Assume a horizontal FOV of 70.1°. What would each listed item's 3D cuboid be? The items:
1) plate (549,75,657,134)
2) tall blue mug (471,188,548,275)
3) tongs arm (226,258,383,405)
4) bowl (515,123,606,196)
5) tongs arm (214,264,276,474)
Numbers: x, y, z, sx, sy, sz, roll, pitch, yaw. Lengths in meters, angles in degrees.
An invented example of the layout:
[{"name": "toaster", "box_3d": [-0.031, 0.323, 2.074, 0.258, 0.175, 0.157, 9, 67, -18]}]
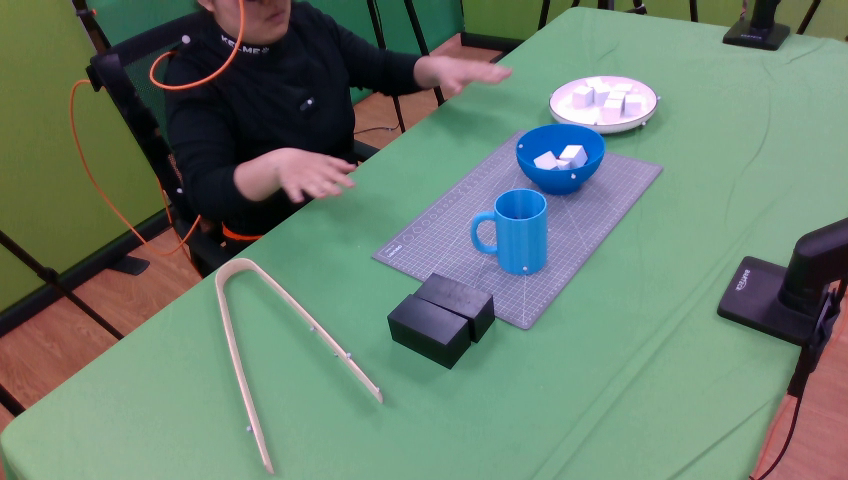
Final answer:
[{"name": "plate", "box_3d": [0.357, -0.269, 1.220, 0.209, 0.038, 0.208, -5, 41, 5]}, {"name": "tall blue mug", "box_3d": [0.131, -0.007, 0.893, 0.107, 0.108, 0.077, -20, 42, -11]}, {"name": "tongs arm", "box_3d": [-0.185, 0.121, 0.863, 0.051, 0.027, 0.381, -34, 45, -20]}, {"name": "bowl", "box_3d": [0.235, -0.131, 1.045, 0.151, 0.077, 0.150, -5, 40, 5]}, {"name": "tongs arm", "box_3d": [-0.252, 0.158, 0.838, 0.028, 0.028, 0.384, -27, 43, -8]}]
